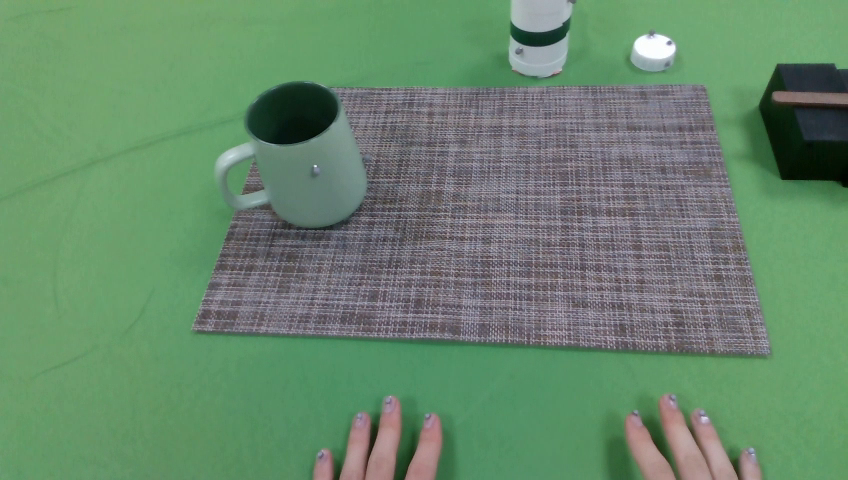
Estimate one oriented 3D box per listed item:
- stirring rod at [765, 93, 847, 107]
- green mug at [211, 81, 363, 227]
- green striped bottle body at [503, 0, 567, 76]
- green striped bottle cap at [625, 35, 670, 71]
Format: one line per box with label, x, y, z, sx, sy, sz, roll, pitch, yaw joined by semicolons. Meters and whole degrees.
stirring rod;0.386;-0.119;0.518;0.176;0.006;0.014;2;56;8
green mug;-0.120;-0.065;0.525;0.125;0.106;0.091;-25;56;-12
green striped bottle body;0.114;-0.235;0.620;0.063;0.120;0.062;-3;54;4
green striped bottle cap;0.239;-0.199;0.646;0.044;0.020;0.044;-3;50;3
